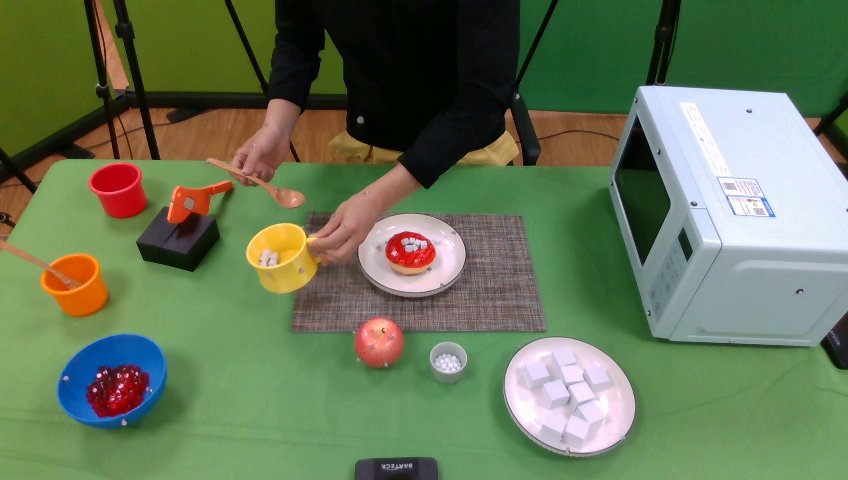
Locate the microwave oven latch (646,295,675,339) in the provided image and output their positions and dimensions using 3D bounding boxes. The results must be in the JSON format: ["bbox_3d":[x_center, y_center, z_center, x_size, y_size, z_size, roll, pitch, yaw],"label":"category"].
[{"bbox_3d":[0.412,0.134,1.061,0.030,0.029,0.078,4,45,1],"label":"microwave oven latch"}]

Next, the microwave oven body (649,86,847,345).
[{"bbox_3d":[0.568,-0.053,1.118,0.326,0.261,0.439,2,45,-1],"label":"microwave oven body"}]

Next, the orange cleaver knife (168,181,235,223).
[{"bbox_3d":[-0.436,-0.077,1.196,0.012,0.077,0.211,16,15,10],"label":"orange cleaver knife"}]

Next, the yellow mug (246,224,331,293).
[{"bbox_3d":[-0.221,0.026,1.007,0.131,0.064,0.099,-14,46,-1],"label":"yellow mug"}]

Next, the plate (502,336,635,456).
[{"bbox_3d":[0.225,0.248,0.963,0.208,0.039,0.206,2,46,-2],"label":"plate"}]

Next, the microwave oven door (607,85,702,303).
[{"bbox_3d":[0.423,-0.094,1.140,0.039,0.245,0.353,2,46,-1],"label":"microwave oven door"}]

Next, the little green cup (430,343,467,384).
[{"bbox_3d":[0.039,0.203,0.994,0.061,0.039,0.061,2,46,-2],"label":"little green cup"}]

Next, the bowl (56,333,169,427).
[{"bbox_3d":[-0.456,0.222,0.911,0.151,0.077,0.150,3,45,-2],"label":"bowl"}]

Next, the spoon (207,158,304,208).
[{"bbox_3d":[-0.307,-0.108,1.104,0.194,0.022,0.041,28,59,1],"label":"spoon"}]

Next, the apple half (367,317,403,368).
[{"bbox_3d":[-0.062,0.167,0.998,0.053,0.075,0.080,-11,44,-20],"label":"apple half"}]

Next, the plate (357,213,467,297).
[{"bbox_3d":[-0.023,0.032,1.150,0.209,0.038,0.208,2,46,-2],"label":"plate"}]

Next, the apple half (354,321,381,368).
[{"bbox_3d":[-0.097,0.176,0.985,0.033,0.081,0.080,-12,48,-20],"label":"apple half"}]

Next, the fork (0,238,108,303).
[{"bbox_3d":[-0.633,0.048,1.017,0.208,0.018,0.028,40,41,-27],"label":"fork"}]

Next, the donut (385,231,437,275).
[{"bbox_3d":[-0.025,0.024,1.142,0.099,0.048,0.098,4,43,-3],"label":"donut"}]
